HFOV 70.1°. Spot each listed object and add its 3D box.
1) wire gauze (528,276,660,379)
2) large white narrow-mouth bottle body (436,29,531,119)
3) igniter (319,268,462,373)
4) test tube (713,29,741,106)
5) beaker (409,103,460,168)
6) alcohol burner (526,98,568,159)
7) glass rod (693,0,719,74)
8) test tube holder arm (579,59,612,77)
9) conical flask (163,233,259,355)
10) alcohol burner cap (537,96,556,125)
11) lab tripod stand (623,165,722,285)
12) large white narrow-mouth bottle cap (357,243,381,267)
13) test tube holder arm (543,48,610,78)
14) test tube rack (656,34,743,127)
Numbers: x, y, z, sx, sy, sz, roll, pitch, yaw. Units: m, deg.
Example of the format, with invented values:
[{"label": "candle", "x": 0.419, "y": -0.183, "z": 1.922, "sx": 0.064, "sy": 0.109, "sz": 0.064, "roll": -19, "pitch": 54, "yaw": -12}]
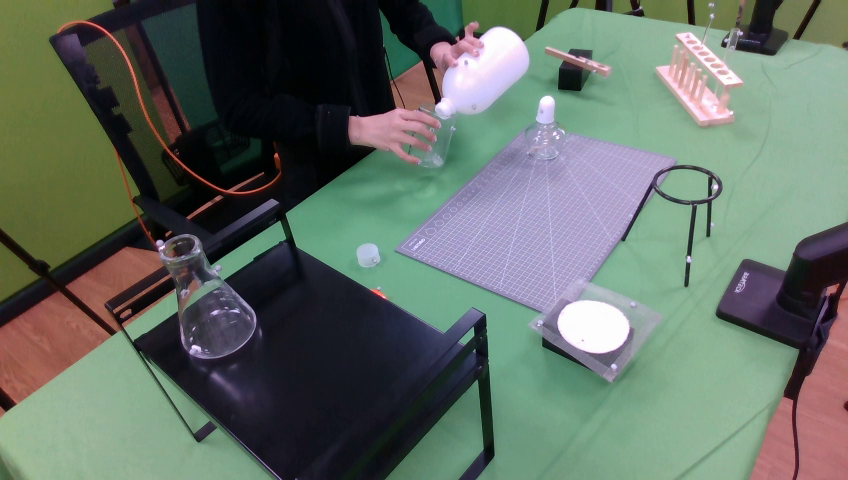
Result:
[{"label": "wire gauze", "x": 0.214, "y": 0.103, "z": 0.763, "sx": 0.124, "sy": 0.011, "sz": 0.122, "roll": 30, "pitch": 52, "yaw": 35}, {"label": "large white narrow-mouth bottle body", "x": 0.098, "y": -0.290, "z": 1.100, "sx": 0.195, "sy": 0.102, "sz": 0.101, "roll": -44, "pitch": 50, "yaw": -16}, {"label": "igniter", "x": -0.059, "y": 0.107, "z": 0.862, "sx": 0.274, "sy": 0.025, "sz": 0.057, "roll": 28, "pitch": 62, "yaw": 35}, {"label": "test tube", "x": 0.572, "y": -0.324, "z": 1.146, "sx": 0.017, "sy": 0.151, "sz": 0.017, "roll": -3, "pitch": 39, "yaw": 3}, {"label": "beaker", "x": 0.017, "y": -0.189, "z": 1.094, "sx": 0.074, "sy": 0.100, "sz": 0.084, "roll": 18, "pitch": 24, "yaw": 6}, {"label": "alcohol burner", "x": 0.228, "y": -0.210, "z": 1.118, "sx": 0.078, "sy": 0.119, "sz": 0.077, "roll": -5, "pitch": 43, "yaw": 5}, {"label": "glass rod", "x": 0.560, "y": -0.401, "z": 1.214, "sx": 0.008, "sy": 0.200, "sz": 0.008, "roll": -1, "pitch": 48, "yaw": 2}, {"label": "test tube holder arm", "x": 0.362, "y": -0.367, "z": 1.289, "sx": 0.010, "sy": 0.015, "sz": 0.087, "roll": -22, "pitch": 42, "yaw": -34}, {"label": "conical flask", "x": -0.216, "y": 0.051, "z": 0.601, "sx": 0.075, "sy": 0.122, "sz": 0.075, "roll": -4, "pitch": 40, "yaw": 4}, {"label": "alcohol burner cap", "x": 0.223, "y": -0.237, "z": 1.095, "sx": 0.034, "sy": 0.048, "sz": 0.033, "roll": -1, "pitch": 42, "yaw": 1}, {"label": "lab tripod stand", "x": 0.365, "y": -0.030, "z": 0.874, "sx": 0.148, "sy": 0.132, "sz": 0.147, "roll": -6, "pitch": 41, "yaw": 6}, {"label": "large white narrow-mouth bottle cap", "x": -0.088, "y": 0.023, "z": 0.972, "sx": 0.038, "sy": 0.024, "sz": 0.037, "roll": -4, "pitch": 41, "yaw": 4}, {"label": "test tube holder arm", "x": 0.328, "y": -0.386, "z": 1.313, "sx": 0.013, "sy": 0.015, "sz": 0.177, "roll": -23, "pitch": 43, "yaw": -35}, {"label": "test tube rack", "x": 0.553, "y": -0.330, "z": 1.233, "sx": 0.067, "sy": 0.085, "sz": 0.241, "roll": -7, "pitch": 40, "yaw": 2}]
